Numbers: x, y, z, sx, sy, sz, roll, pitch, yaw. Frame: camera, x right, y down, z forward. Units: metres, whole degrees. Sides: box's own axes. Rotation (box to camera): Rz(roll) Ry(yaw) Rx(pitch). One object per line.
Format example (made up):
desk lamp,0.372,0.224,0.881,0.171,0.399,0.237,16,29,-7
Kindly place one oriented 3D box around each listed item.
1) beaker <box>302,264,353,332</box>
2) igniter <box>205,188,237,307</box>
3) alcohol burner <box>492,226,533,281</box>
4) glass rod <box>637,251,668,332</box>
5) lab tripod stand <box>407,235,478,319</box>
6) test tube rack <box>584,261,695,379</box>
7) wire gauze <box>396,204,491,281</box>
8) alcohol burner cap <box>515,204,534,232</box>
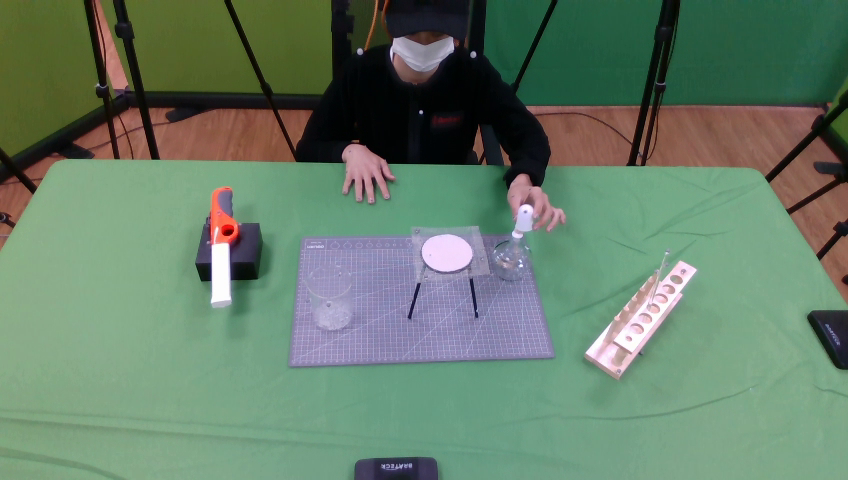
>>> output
beaker,-0.162,0.101,1.030,0.084,0.101,0.073,4,45,0
igniter,-0.367,0.004,1.097,0.057,0.025,0.274,-7,50,-11
alcohol burner,0.167,0.020,1.125,0.078,0.120,0.077,1,46,-1
glass rod,0.378,0.090,1.005,0.008,0.201,0.008,-1,44,1
lab tripod stand,0.032,0.065,1.057,0.148,0.132,0.147,1,45,-1
test tube rack,0.380,0.127,1.062,0.066,0.085,0.242,34,53,26
wire gauze,0.032,0.004,0.999,0.125,0.011,0.120,-22,54,-14
alcohol burner cap,0.181,-0.041,1.078,0.034,0.048,0.033,1,34,0
